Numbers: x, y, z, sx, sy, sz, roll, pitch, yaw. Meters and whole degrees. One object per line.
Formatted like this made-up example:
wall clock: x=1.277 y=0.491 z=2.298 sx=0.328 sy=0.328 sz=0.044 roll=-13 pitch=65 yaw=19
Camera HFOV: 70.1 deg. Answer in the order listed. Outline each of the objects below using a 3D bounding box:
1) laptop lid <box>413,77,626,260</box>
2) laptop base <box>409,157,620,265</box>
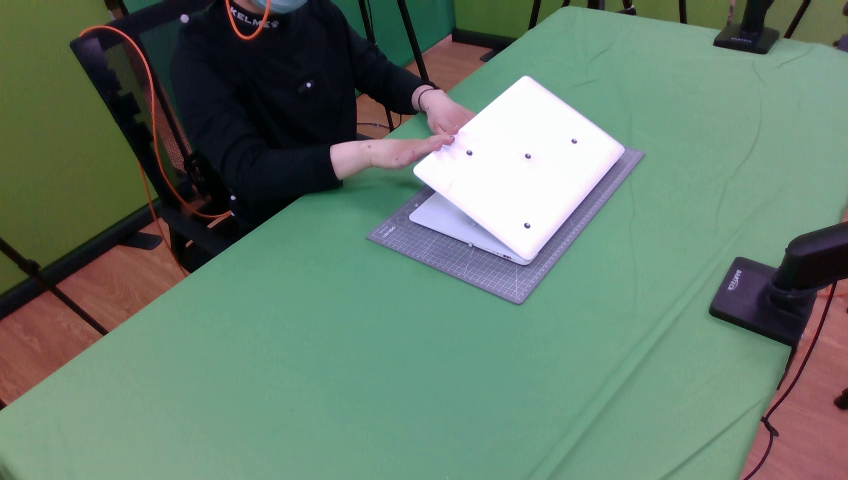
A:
laptop lid: x=0.172 y=-0.138 z=1.010 sx=0.241 sy=0.013 sz=0.358 roll=40 pitch=55 yaw=12
laptop base: x=0.168 y=-0.095 z=1.057 sx=0.233 sy=0.023 sz=0.355 roll=20 pitch=47 yaw=32
